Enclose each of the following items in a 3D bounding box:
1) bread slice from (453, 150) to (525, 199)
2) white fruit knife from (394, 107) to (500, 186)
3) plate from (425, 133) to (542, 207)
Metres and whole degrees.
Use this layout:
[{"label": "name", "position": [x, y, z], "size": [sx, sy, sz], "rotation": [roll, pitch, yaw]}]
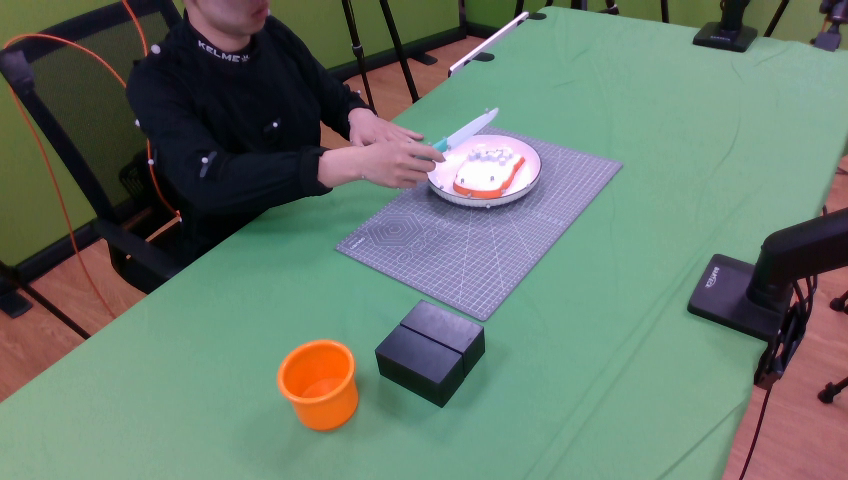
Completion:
[{"label": "bread slice", "position": [0.112, -0.119, 1.079], "size": [0.104, 0.019, 0.131], "rotation": [11, 43, 21]}, {"label": "white fruit knife", "position": [0.034, -0.154, 0.979], "size": [0.207, 0.027, 0.016], "rotation": [-33, 29, 9]}, {"label": "plate", "position": [0.106, -0.121, 1.079], "size": [0.209, 0.038, 0.208], "rotation": [-4, 41, 4]}]
